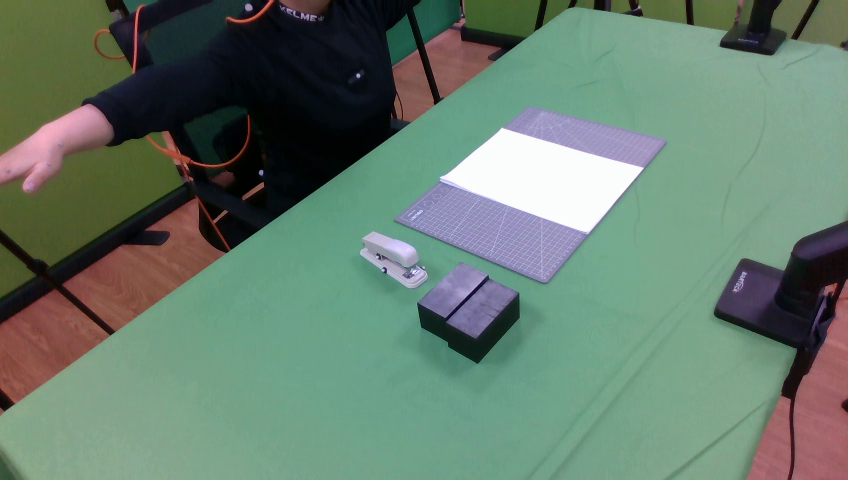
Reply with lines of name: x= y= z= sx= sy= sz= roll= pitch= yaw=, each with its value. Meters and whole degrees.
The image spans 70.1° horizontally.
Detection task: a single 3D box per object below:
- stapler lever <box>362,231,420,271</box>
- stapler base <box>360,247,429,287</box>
stapler lever: x=-0.052 y=0.011 z=0.933 sx=0.027 sy=0.040 sz=0.117 roll=-34 pitch=45 yaw=-30
stapler base: x=-0.047 y=0.031 z=0.948 sx=0.041 sy=0.024 sz=0.129 roll=-34 pitch=45 yaw=-31
